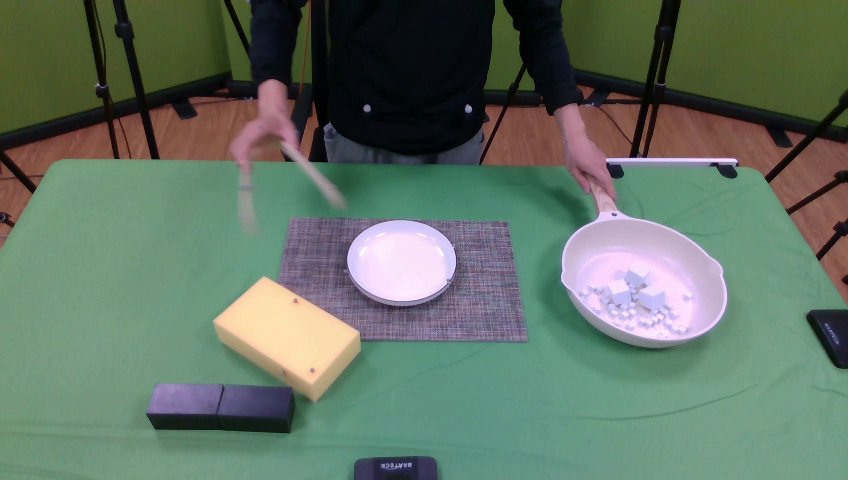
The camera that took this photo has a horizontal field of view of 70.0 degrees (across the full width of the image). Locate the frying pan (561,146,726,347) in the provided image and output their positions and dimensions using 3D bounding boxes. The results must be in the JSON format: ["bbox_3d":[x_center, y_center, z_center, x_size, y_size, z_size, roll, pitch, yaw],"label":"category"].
[{"bbox_3d":[0.378,-0.005,1.175,0.307,0.103,0.484,-4,55,-9],"label":"frying pan"}]

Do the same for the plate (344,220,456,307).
[{"bbox_3d":[-0.044,0.047,1.133,0.208,0.039,0.206,2,46,-2],"label":"plate"}]

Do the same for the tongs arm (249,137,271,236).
[{"bbox_3d":[-0.254,-0.097,0.959,0.051,0.026,0.382,-19,28,-10],"label":"tongs arm"}]

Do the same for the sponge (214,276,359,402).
[{"bbox_3d":[-0.224,0.158,0.998,0.206,0.061,0.118,27,52,18],"label":"sponge"}]

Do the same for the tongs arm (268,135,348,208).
[{"bbox_3d":[-0.192,-0.118,0.974,0.028,0.028,0.385,-27,31,-16],"label":"tongs arm"}]
